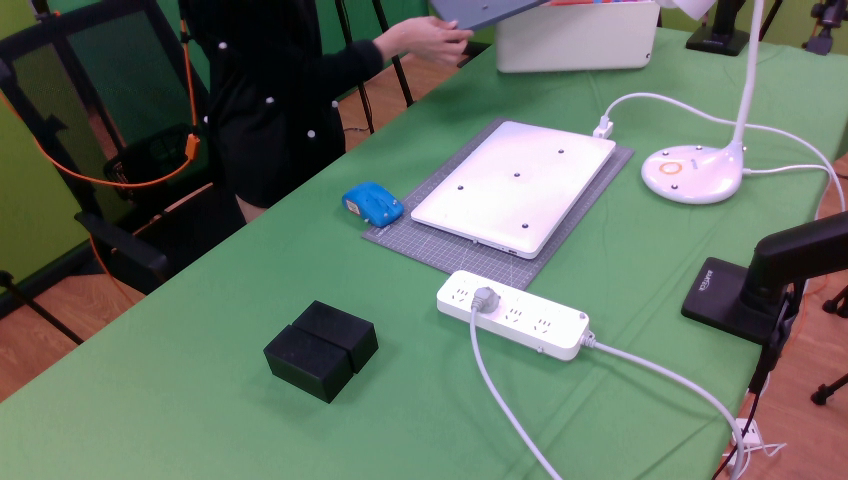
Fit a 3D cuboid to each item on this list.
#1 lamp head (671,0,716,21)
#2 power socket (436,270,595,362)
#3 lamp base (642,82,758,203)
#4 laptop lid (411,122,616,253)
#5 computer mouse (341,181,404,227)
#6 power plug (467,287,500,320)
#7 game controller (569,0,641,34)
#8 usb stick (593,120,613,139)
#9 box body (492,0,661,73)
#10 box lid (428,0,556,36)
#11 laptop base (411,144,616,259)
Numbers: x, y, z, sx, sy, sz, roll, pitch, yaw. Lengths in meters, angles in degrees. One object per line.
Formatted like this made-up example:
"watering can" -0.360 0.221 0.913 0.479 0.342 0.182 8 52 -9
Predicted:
"lamp head" 0.375 -0.373 0.807 0.122 0.113 0.112 -40 27 32
"power socket" 0.118 0.101 0.832 0.225 0.033 0.072 19 48 27
"lamp base" 0.464 -0.174 0.992 0.179 0.181 0.159 -5 41 -2
"laptop lid" 0.164 -0.111 1.067 0.240 0.013 0.357 19 46 31
"computer mouse" -0.091 -0.066 1.052 0.063 0.041 0.116 -33 48 -29
"power plug" 0.073 0.092 0.814 0.035 0.053 0.073 29 54 34
"game controller" 0.422 -0.522 1.395 0.155 0.052 0.096 -9 44 -3
"usb stick" 0.336 -0.201 1.147 0.021 0.027 0.059 26 53 27
"box body" 0.346 -0.520 1.429 0.363 0.161 0.253 0 41 9
"box lid" 0.195 -0.543 1.246 0.372 0.015 0.261 -22 48 -1
"laptop base" 0.168 -0.101 1.074 0.234 0.023 0.355 17 46 30
